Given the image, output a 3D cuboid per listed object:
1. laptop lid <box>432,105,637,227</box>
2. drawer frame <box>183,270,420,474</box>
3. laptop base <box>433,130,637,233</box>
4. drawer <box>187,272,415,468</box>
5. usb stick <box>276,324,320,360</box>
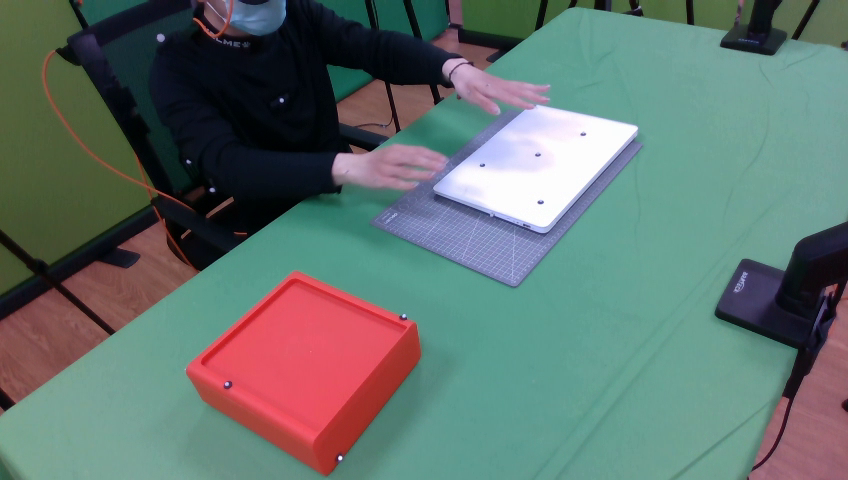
[{"bbox_3d":[0.207,-0.152,1.105,0.239,0.013,0.358,23,49,34],"label":"laptop lid"},{"bbox_3d":[-0.148,0.153,0.767,0.212,0.083,0.202,19,46,27],"label":"drawer frame"},{"bbox_3d":[0.210,-0.142,1.111,0.233,0.023,0.355,21,47,33],"label":"laptop base"},{"bbox_3d":[-0.150,0.154,0.768,0.210,0.073,0.195,20,46,28],"label":"drawer"},{"bbox_3d":[-0.172,0.140,0.816,0.059,0.027,0.021,-27,39,-21],"label":"usb stick"}]
